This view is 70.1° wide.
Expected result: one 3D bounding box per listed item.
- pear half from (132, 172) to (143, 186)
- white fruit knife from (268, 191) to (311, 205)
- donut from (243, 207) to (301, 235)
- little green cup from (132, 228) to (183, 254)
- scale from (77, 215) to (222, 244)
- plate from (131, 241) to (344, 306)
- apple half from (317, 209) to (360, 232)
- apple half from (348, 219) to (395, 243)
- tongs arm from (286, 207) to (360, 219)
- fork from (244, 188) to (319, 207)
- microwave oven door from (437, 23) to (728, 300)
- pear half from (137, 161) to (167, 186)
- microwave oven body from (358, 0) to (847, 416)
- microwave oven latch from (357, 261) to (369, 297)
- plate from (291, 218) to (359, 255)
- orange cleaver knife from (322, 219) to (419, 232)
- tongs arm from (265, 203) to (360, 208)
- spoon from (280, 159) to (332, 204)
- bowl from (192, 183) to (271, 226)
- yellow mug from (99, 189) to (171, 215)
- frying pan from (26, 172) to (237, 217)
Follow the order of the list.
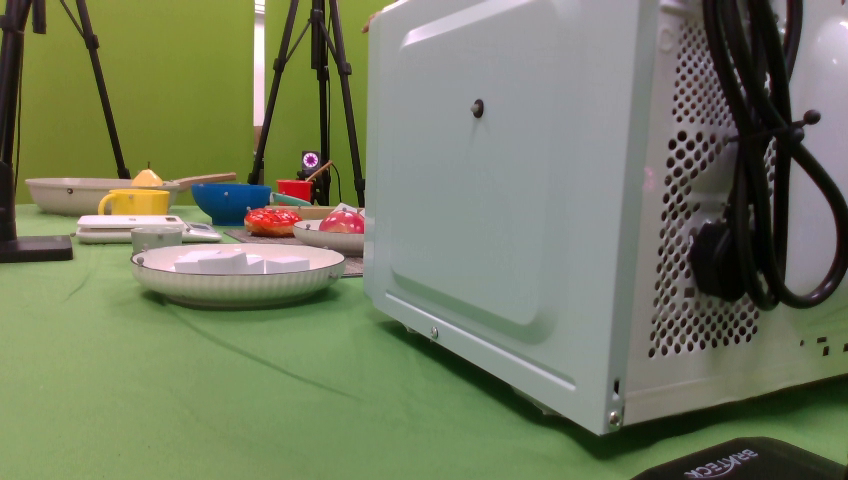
[{"bbox_3d":[-0.638,-0.113,1.361,0.031,0.088,0.070,5,10,4],"label":"pear half"},{"bbox_3d":[-0.364,-0.105,1.463,0.208,0.027,0.016,15,-2,-34],"label":"white fruit knife"},{"bbox_3d":[-0.261,-0.032,1.043,0.099,0.048,0.099,4,9,0],"label":"donut"},{"bbox_3d":[-0.342,0.006,0.779,0.061,0.038,0.061,2,8,0],"label":"little green cup"},{"bbox_3d":[-0.434,-0.019,0.963,0.202,0.031,0.148,-1,9,-27],"label":"scale"},{"bbox_3d":[-0.187,0.033,0.625,0.208,0.039,0.207,2,7,0],"label":"plate"},{"bbox_3d":[-0.121,-0.020,0.900,0.080,0.053,0.075,4,11,14],"label":"apple half"},{"bbox_3d":[-0.083,-0.018,0.967,0.081,0.033,0.081,5,10,-1],"label":"apple half"},{"bbox_3d":[-0.173,-0.060,1.363,0.387,0.026,0.050,-1,4,-31],"label":"tongs arm"},{"bbox_3d":[-0.356,-0.105,1.526,0.208,0.018,0.028,16,-5,-41],"label":"fork"},{"bbox_3d":[0.181,-0.072,0.621,0.358,0.243,0.039,-2,8,-29],"label":"microwave oven door"},{"bbox_3d":[-0.602,-0.120,1.354,0.056,0.110,0.076,4,11,6],"label":"pear half"},{"bbox_3d":[0.211,-0.047,0.474,0.444,0.260,0.324,-1,7,-28],"label":"microwave oven body"},{"bbox_3d":[-0.019,0.033,0.530,0.079,0.029,0.030,-1,7,-26],"label":"microwave oven latch"},{"bbox_3d":[-0.098,-0.007,0.928,0.209,0.038,0.209,2,8,0],"label":"plate"},{"bbox_3d":[-0.097,-0.027,1.153,0.077,0.012,0.212,1,6,41],"label":"orange cleaver knife"},{"bbox_3d":[-0.209,-0.069,1.438,0.389,0.027,0.028,1,0,-17],"label":"tongs arm"},{"bbox_3d":[-0.316,-0.159,1.640,0.194,0.022,0.041,-50,32,-20],"label":"spoon"},{"bbox_3d":[-0.382,-0.071,1.202,0.151,0.077,0.151,3,7,0],"label":"bowl"},{"bbox_3d":[-0.518,-0.055,1.080,0.099,0.064,0.131,6,9,26],"label":"yellow mug"},{"bbox_3d":[-0.624,-0.118,1.387,0.305,0.102,0.490,8,17,32],"label":"frying pan"}]
